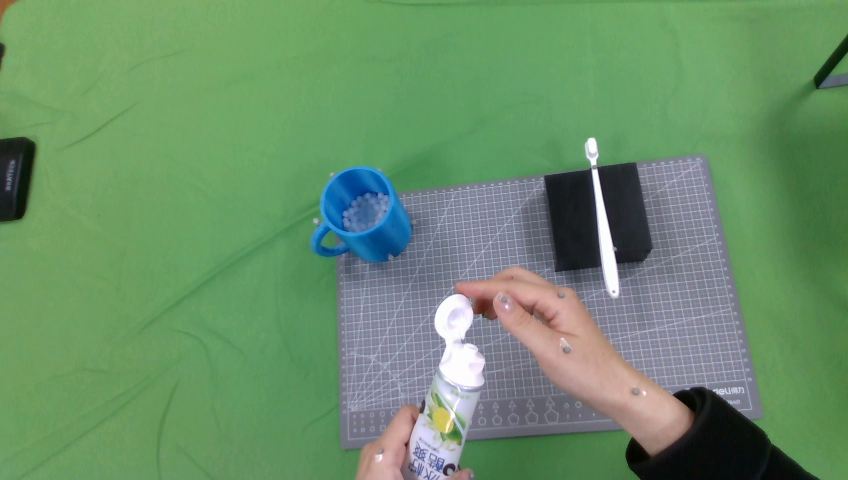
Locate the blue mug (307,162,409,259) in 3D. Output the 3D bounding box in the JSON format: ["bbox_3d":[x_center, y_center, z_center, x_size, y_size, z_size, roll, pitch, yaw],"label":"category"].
[{"bbox_3d":[-0.080,-0.022,0.693,0.116,0.106,0.082,-33,71,-1],"label":"blue mug"}]

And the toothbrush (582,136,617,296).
[{"bbox_3d":[0.189,-0.029,0.650,0.014,0.017,0.180,-4,74,1],"label":"toothbrush"}]

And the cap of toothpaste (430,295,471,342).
[{"bbox_3d":[0.021,0.058,0.443,0.037,0.038,0.011,-54,35,-8],"label":"cap of toothpaste"}]

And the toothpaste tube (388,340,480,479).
[{"bbox_3d":[0.006,0.148,0.452,0.054,0.035,0.165,25,107,31],"label":"toothpaste tube"}]
